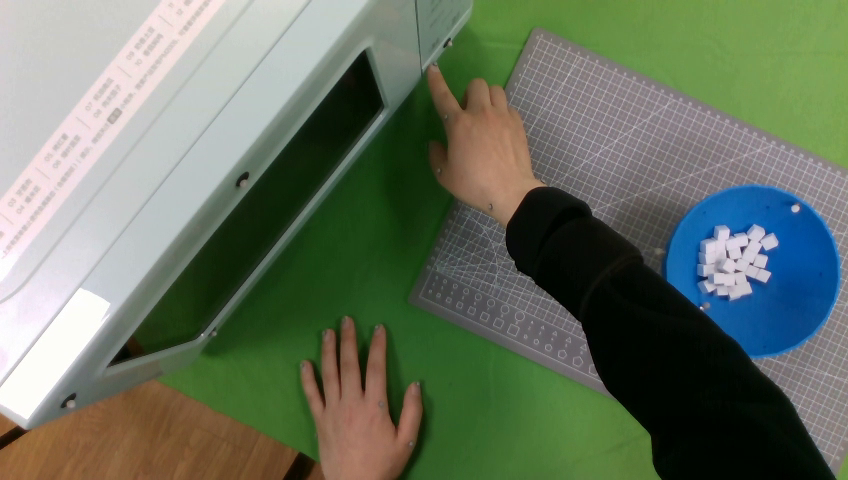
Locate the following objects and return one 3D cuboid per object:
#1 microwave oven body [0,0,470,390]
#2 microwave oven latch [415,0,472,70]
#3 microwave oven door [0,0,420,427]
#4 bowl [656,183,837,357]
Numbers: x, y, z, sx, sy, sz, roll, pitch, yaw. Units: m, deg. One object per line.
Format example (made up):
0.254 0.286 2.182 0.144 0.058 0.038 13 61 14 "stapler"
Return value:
-0.217 -0.157 0.472 0.326 0.260 0.441 39 90 1 "microwave oven body"
0.012 -0.200 0.567 0.030 0.029 0.079 41 90 1 "microwave oven latch"
-0.130 -0.033 0.464 0.039 0.244 0.355 39 89 2 "microwave oven door"
0.279 0.027 0.556 0.151 0.077 0.151 0 89 1 "bowl"
